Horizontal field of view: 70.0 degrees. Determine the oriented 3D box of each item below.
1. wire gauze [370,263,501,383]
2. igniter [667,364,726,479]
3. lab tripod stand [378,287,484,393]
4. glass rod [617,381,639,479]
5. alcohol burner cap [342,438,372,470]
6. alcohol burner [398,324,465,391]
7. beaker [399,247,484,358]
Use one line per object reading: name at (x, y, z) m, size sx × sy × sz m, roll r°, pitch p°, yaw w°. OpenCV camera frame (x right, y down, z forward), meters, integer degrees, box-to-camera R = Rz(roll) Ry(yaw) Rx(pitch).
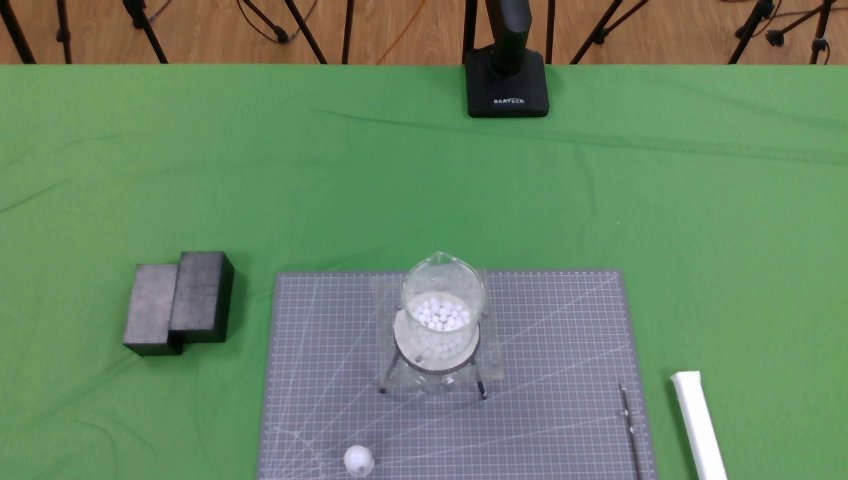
wire gauze at (0.009, 0.083, 0.618) m, size 0.125 × 0.011 × 0.120 m, roll -5°, pitch 63°, yaw -2°
igniter at (0.320, 0.276, 0.672) m, size 0.057 × 0.025 × 0.274 m, roll 1°, pitch 65°, yaw -12°
lab tripod stand at (0.009, 0.114, 0.677) m, size 0.148 × 0.132 × 0.147 m, roll 0°, pitch 63°, yaw 0°
glass rod at (0.237, 0.258, 0.685) m, size 0.008 × 0.008 × 0.198 m, roll -1°, pitch 65°, yaw -2°
alcohol burner cap at (-0.075, 0.235, 0.668) m, size 0.034 × 0.048 × 0.033 m, roll 1°, pitch 65°, yaw -1°
alcohol burner at (0.008, 0.127, 0.682) m, size 0.078 × 0.120 × 0.077 m, roll 0°, pitch 63°, yaw 0°
beaker at (0.014, 0.063, 0.574) m, size 0.074 × 0.101 × 0.083 m, roll -4°, pitch 63°, yaw -3°
